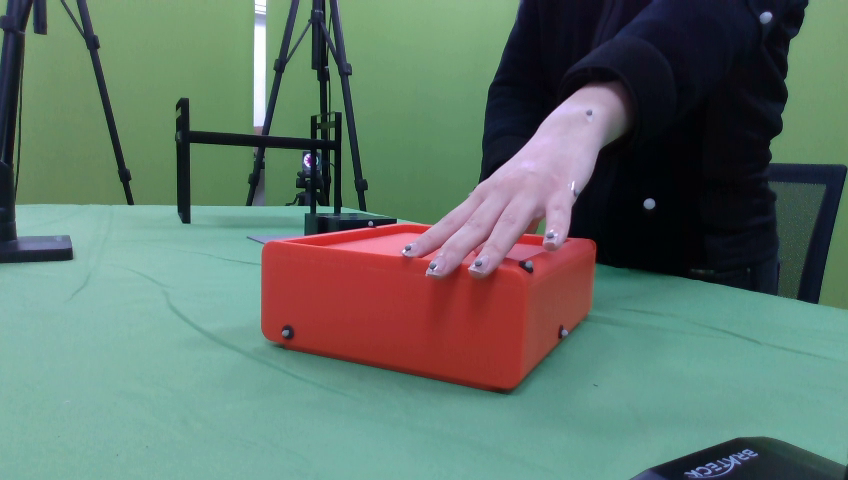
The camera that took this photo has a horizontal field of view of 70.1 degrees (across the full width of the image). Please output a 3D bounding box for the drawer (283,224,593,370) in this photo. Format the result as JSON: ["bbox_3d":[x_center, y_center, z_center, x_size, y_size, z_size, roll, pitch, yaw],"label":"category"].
[{"bbox_3d":[0.023,0.035,0.510,0.194,0.073,0.212,7,9,26],"label":"drawer"}]

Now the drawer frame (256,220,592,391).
[{"bbox_3d":[0.014,0.036,0.491,0.201,0.082,0.214,6,9,25],"label":"drawer frame"}]

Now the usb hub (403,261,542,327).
[{"bbox_3d":[0.041,0.046,0.549,0.124,0.025,0.050,16,14,39],"label":"usb hub"}]
